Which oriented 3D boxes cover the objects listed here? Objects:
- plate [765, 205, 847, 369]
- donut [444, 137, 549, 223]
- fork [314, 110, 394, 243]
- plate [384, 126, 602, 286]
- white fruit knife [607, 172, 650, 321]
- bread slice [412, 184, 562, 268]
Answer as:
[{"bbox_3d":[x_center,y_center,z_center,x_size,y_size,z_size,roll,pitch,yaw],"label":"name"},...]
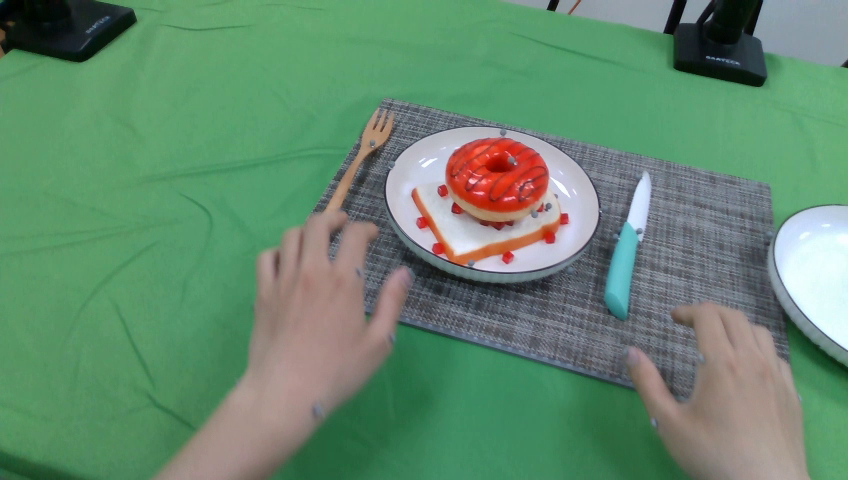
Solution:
[{"bbox_3d":[0.412,0.054,0.547,0.208,0.039,0.205,3,48,-2],"label":"plate"},{"bbox_3d":[0.067,-0.058,0.565,0.099,0.048,0.098,3,47,-2],"label":"donut"},{"bbox_3d":[-0.071,-0.072,0.627,0.028,0.019,0.206,19,47,2],"label":"fork"},{"bbox_3d":[0.065,-0.034,0.592,0.209,0.038,0.207,2,48,-2],"label":"plate"},{"bbox_3d":[0.204,-0.005,0.594,0.027,0.016,0.206,38,48,-10],"label":"white fruit knife"},{"bbox_3d":[0.066,-0.029,0.590,0.132,0.019,0.103,-17,52,-18],"label":"bread slice"}]
